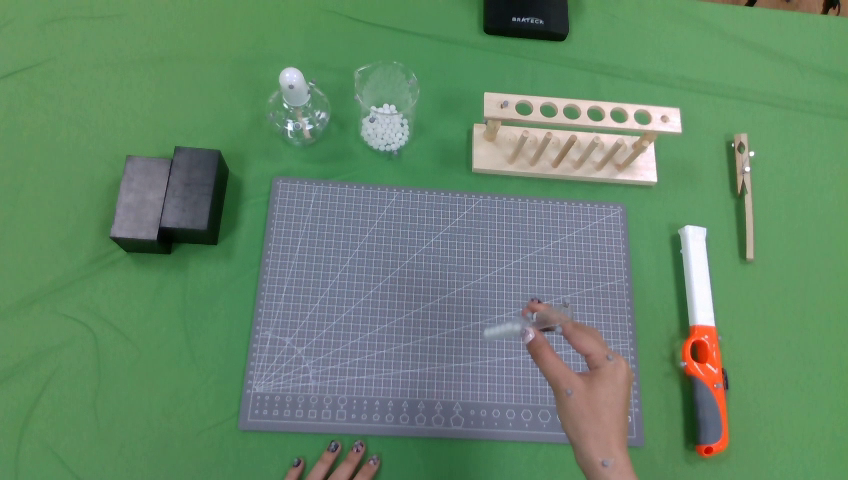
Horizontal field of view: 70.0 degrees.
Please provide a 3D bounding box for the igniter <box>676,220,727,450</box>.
[{"bbox_3d":[0.331,0.108,0.729,0.057,0.025,0.274,8,71,-14],"label":"igniter"}]

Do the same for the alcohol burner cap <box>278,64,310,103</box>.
[{"bbox_3d":[-0.150,-0.181,0.690,0.034,0.048,0.033,1,77,-3],"label":"alcohol burner cap"}]

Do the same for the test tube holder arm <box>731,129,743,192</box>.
[{"bbox_3d":[0.423,-0.107,0.816,0.010,0.015,0.087,-6,69,29],"label":"test tube holder arm"}]

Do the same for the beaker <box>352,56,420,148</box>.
[{"bbox_3d":[-0.051,-0.165,0.742,0.084,0.101,0.074,31,70,6],"label":"beaker"}]

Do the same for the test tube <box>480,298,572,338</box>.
[{"bbox_3d":[0.087,0.073,0.549,0.017,0.150,0.017,6,73,-19],"label":"test tube"}]

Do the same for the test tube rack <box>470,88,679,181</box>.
[{"bbox_3d":[0.185,-0.131,0.763,0.243,0.085,0.066,4,71,-5],"label":"test tube rack"}]

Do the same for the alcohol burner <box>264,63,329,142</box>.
[{"bbox_3d":[-0.154,-0.169,0.724,0.078,0.119,0.077,2,69,-5],"label":"alcohol burner"}]

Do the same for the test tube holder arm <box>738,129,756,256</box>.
[{"bbox_3d":[0.425,-0.066,0.800,0.013,0.015,0.177,-8,68,28],"label":"test tube holder arm"}]
